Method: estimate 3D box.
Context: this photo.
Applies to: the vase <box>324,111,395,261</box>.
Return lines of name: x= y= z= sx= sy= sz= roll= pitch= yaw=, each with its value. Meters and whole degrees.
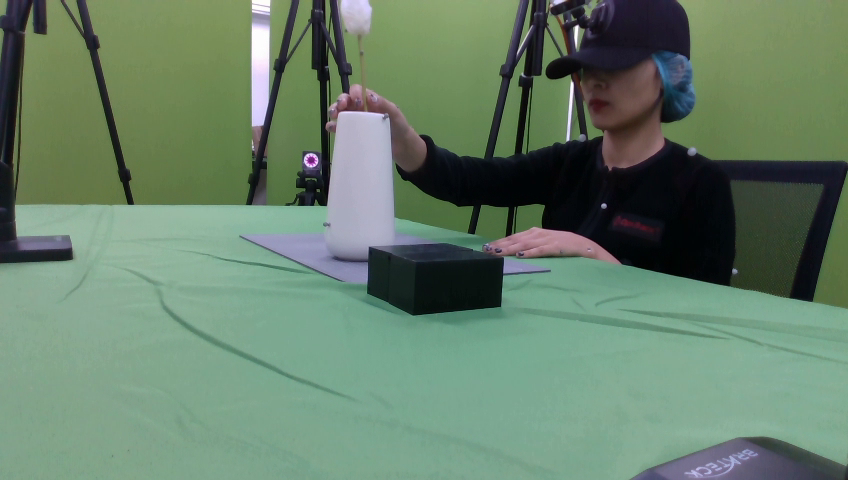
vase: x=-0.087 y=-0.074 z=0.828 sx=0.098 sy=0.200 sz=0.098 roll=2 pitch=9 yaw=0

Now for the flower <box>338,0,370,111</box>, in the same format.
flower: x=-0.078 y=-0.162 z=0.836 sx=0.038 sy=0.361 sz=0.044 roll=-9 pitch=3 yaw=-39
